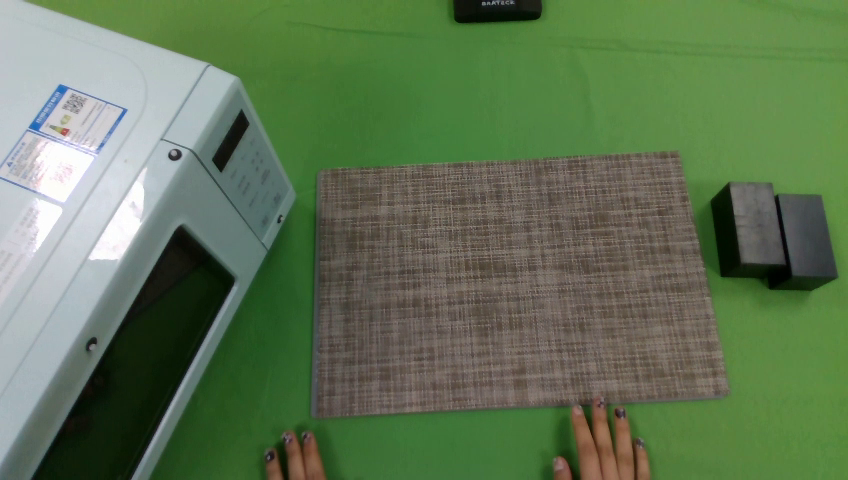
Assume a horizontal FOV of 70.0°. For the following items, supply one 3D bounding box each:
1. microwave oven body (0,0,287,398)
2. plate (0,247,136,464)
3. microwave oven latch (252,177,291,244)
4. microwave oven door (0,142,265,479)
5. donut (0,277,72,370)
[{"bbox_3d":[-0.386,0.032,0.573,0.325,0.261,0.439,20,72,7],"label":"microwave oven body"},{"bbox_3d":[-0.374,0.109,0.589,0.209,0.038,0.207,-3,68,8],"label":"plate"},{"bbox_3d":[-0.181,-0.037,0.702,0.030,0.029,0.079,20,72,7],"label":"microwave oven latch"},{"bbox_3d":[-0.264,0.117,0.537,0.039,0.245,0.354,20,71,8],"label":"microwave oven door"},{"bbox_3d":[-0.405,0.082,0.605,0.099,0.048,0.098,2,54,-3],"label":"donut"}]
